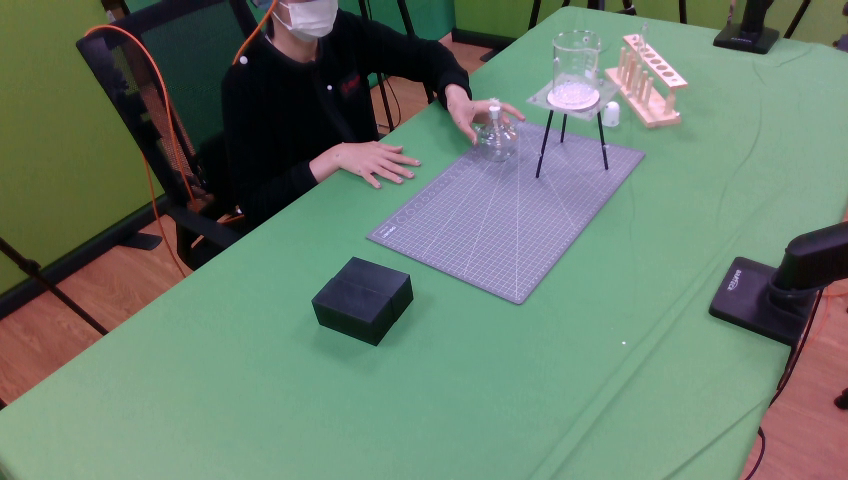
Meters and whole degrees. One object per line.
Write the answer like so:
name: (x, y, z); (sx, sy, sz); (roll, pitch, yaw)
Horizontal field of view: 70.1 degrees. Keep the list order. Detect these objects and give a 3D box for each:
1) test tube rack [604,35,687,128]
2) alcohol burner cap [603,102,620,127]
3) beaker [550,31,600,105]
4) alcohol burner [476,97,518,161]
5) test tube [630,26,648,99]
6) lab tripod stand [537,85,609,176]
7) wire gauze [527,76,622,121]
test tube rack: (0.447, -0.330, 1.241); (0.067, 0.085, 0.241); (-9, 41, -2)
alcohol burner cap: (0.371, -0.249, 1.193); (0.034, 0.048, 0.033); (-5, 41, 5)
beaker: (0.250, -0.281, 0.996); (0.074, 0.101, 0.083); (-37, 49, -27)
alcohol burner: (0.134, -0.208, 1.120); (0.078, 0.119, 0.077); (-6, 40, 5)
test tube: (0.426, -0.350, 1.199); (0.017, 0.151, 0.017); (-4, 42, 4)
lab tripod stand: (0.259, -0.192, 1.068); (0.148, 0.132, 0.147); (-4, 43, 4)
wire gauze: (0.255, -0.247, 1.030); (0.124, 0.011, 0.122); (23, 49, 34)
